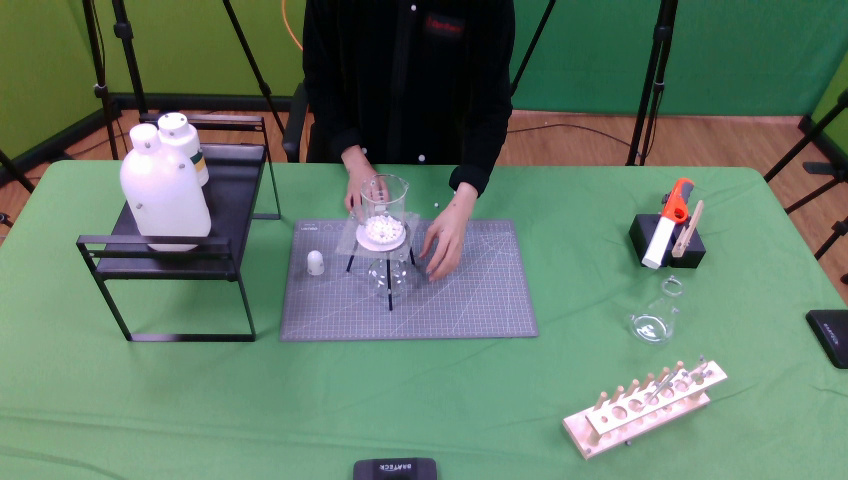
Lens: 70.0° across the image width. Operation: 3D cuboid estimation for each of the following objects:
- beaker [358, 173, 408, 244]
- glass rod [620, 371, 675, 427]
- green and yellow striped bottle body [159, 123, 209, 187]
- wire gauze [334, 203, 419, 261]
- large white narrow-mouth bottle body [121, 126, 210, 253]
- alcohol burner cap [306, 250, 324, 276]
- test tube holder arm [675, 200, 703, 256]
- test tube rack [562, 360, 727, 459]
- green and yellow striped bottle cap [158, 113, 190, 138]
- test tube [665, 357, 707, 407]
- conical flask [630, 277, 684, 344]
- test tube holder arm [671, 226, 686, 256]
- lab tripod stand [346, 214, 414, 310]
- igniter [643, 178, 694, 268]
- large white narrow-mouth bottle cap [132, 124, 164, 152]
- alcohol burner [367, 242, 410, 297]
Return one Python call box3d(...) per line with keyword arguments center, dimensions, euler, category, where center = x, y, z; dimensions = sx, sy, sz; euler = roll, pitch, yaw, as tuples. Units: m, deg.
box3d(center=(-0.066, -0.050, 1.000), dimensions=(0.084, 0.101, 0.073), euler=(-18, 49, -20), category="beaker")
box3d(center=(0.315, 0.230, 0.863), dimensions=(0.008, 0.200, 0.008), euler=(3, 54, -3), category="glass rod")
box3d(center=(-0.395, -0.145, 0.989), dimensions=(0.063, 0.120, 0.063), euler=(2, 46, -2), category="green and yellow striped bottle body")
box3d(center=(-0.079, -0.013, 1.031), dimensions=(0.121, 0.011, 0.124), euler=(8, 48, 7), category="wire gauze")
box3d(center=(-0.378, -0.077, 0.875), dimensions=(0.102, 0.195, 0.101), euler=(3, 46, -3), category="large white narrow-mouth bottle body")
box3d(center=(-0.204, 0.041, 1.125), dimensions=(0.034, 0.048, 0.033), euler=(2, 46, -2), category="alcohol burner cap")
box3d(center=(0.523, -0.025, 1.190), dimensions=(0.013, 0.015, 0.178), euler=(1, 36, 41), category="test tube holder arm")
box3d(center=(0.341, 0.247, 0.940), dimensions=(0.243, 0.085, 0.066), euler=(-16, 49, -19), category="test tube rack")
box3d(center=(-0.393, -0.180, 0.951), dimensions=(0.045, 0.020, 0.045), euler=(2, 44, -2), category="green and yellow striped bottle cap")
box3d(center=(0.387, 0.215, 0.905), dimensions=(0.017, 0.151, 0.017), euler=(1, 52, -1), category="test tube")
box3d(center=(0.408, 0.117, 1.045), dimensions=(0.075, 0.122, 0.075), euler=(2, 46, -2), category="conical flask")
box3d(center=(0.494, 0.001, 1.167), dimensions=(0.010, 0.015, 0.087), euler=(1, 36, 42), category="test tube holder arm")
box3d(center=(-0.075, 0.030, 1.082), dimensions=(0.148, 0.132, 0.147), euler=(1, 47, -1), category="lab tripod stand")
box3d(center=(0.488, -0.042, 1.205), dimensions=(0.057, 0.025, 0.276), euler=(30, 51, 11), category="igniter")
box3d(center=(-0.371, -0.137, 0.813), dimensions=(0.038, 0.024, 0.037), euler=(3, 46, -3), category="large white narrow-mouth bottle cap")
box3d(center=(-0.064, 0.047, 1.080), dimensions=(0.078, 0.120, 0.077), euler=(1, 47, -1), category="alcohol burner")
